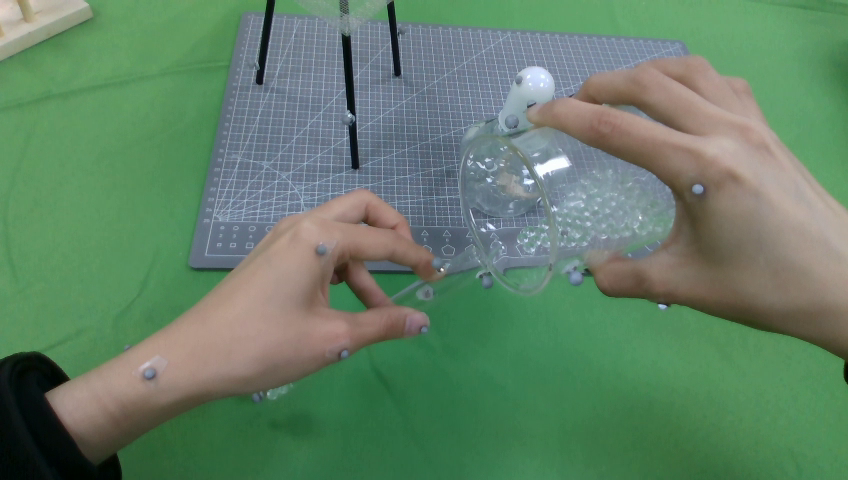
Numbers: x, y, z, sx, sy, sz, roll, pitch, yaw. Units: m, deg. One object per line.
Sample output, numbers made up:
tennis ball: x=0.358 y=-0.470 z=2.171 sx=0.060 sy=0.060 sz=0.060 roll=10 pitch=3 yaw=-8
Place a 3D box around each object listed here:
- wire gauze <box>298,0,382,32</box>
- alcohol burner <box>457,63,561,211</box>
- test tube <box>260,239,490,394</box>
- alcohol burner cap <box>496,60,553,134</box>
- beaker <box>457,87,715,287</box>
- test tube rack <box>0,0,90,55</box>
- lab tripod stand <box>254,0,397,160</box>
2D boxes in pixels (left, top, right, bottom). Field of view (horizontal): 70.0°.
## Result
wire gauze: x=-0.062 y=-0.197 z=0.408 sx=0.124 sy=0.011 sz=0.121 roll=34 pitch=57 yaw=15
alcohol burner: x=0.065 y=-0.077 z=0.434 sx=0.078 sy=0.120 sz=0.077 roll=5 pitch=52 yaw=-6
test tube: x=-0.030 y=0.044 z=0.323 sx=0.150 sy=0.017 sz=0.017 roll=-33 pitch=56 yaw=16
alcohol burner cap: x=0.069 y=-0.097 z=0.405 sx=0.034 sy=0.048 sz=0.033 roll=4 pitch=58 yaw=-5
beaker: x=0.076 y=-0.027 z=0.287 sx=0.100 sy=0.084 sz=0.073 roll=-19 pitch=69 yaw=-21
test tube rack: x=-0.396 y=-0.175 z=0.463 sx=0.066 sy=0.086 sz=0.241 roll=33 pitch=56 yaw=16
lab tripod stand: x=-0.067 y=-0.157 z=0.462 sx=0.149 sy=0.132 sz=0.147 roll=5 pitch=54 yaw=-6
